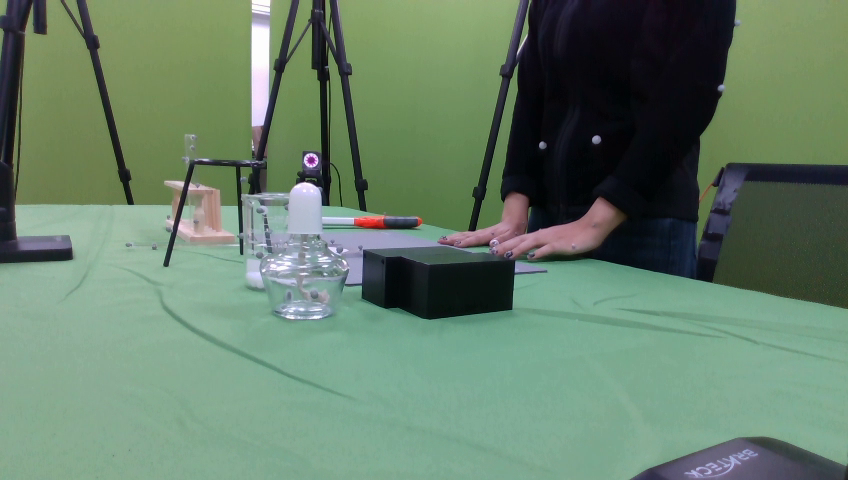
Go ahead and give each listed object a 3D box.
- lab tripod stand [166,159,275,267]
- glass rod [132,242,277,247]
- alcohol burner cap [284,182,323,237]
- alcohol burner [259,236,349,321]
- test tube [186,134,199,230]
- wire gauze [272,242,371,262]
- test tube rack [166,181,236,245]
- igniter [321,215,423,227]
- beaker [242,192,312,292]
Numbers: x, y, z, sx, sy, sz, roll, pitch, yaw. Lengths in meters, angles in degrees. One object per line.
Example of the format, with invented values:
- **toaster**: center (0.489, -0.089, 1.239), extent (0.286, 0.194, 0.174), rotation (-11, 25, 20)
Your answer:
- **lab tripod stand**: center (-0.249, -0.036, 0.764), extent (0.148, 0.131, 0.148), rotation (2, 9, 0)
- **glass rod**: center (-0.316, 0.007, 0.884), extent (0.201, 0.008, 0.008), rotation (0, 7, -27)
- **alcohol burner cap**: center (-0.105, -0.027, 0.529), extent (0.034, 0.048, 0.034), rotation (2, 3, 0)
- **alcohol burner**: center (-0.106, 0.009, 0.532), extent (0.078, 0.119, 0.078), rotation (1, 7, 0)
- **test tube**: center (-0.360, -0.089, 0.946), extent (0.017, 0.150, 0.017), rotation (0, 10, 0)
- **wire gauze**: center (-0.155, 0.014, 0.877), extent (0.122, 0.011, 0.124), rotation (-3, 10, -29)
- **test tube rack**: center (-0.383, -0.051, 1.024), extent (0.067, 0.085, 0.241), rotation (-2, 9, -31)
- **igniter**: center (-0.136, -0.040, 1.240), extent (0.278, 0.025, 0.057), rotation (0, -2, -22)
- **beaker**: center (-0.157, 0.000, 0.642), extent (0.084, 0.100, 0.074), rotation (4, 7, 19)
